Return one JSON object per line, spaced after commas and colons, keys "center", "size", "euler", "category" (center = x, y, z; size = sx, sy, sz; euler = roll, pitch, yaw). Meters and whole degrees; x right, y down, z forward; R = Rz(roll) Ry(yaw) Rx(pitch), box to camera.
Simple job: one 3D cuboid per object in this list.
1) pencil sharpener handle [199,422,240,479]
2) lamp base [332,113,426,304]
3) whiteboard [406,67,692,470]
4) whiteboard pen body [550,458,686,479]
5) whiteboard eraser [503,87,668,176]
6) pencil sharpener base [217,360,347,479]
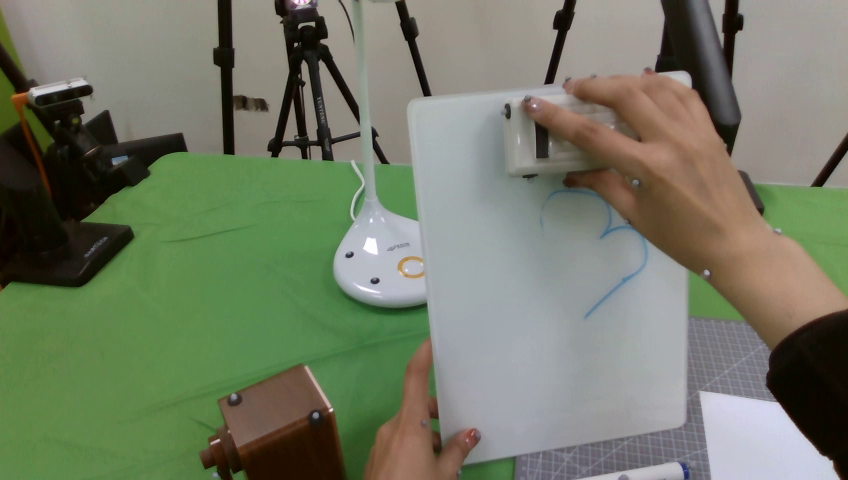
{"center": [-0.152, 0.166, 0.435], "size": [0.031, 0.068, 0.035], "euler": [-21, 25, -24], "category": "pencil sharpener handle"}
{"center": [-0.042, -0.045, 0.697], "size": [0.161, 0.182, 0.177], "euler": [-25, 38, -29], "category": "lamp base"}
{"center": [0.100, 0.015, 0.542], "size": [0.217, 0.307, 0.143], "euler": [-7, 15, -6], "category": "whiteboard"}
{"center": [0.138, 0.190, 0.475], "size": [0.141, 0.017, 0.017], "euler": [-7, 34, -6], "category": "whiteboard pen body"}
{"center": [0.112, -0.077, 0.426], "size": [0.113, 0.056, 0.041], "euler": [-5, 12, -7], "category": "whiteboard eraser"}
{"center": [-0.109, 0.159, 0.466], "size": [0.077, 0.108, 0.060], "euler": [-20, 39, -24], "category": "pencil sharpener base"}
